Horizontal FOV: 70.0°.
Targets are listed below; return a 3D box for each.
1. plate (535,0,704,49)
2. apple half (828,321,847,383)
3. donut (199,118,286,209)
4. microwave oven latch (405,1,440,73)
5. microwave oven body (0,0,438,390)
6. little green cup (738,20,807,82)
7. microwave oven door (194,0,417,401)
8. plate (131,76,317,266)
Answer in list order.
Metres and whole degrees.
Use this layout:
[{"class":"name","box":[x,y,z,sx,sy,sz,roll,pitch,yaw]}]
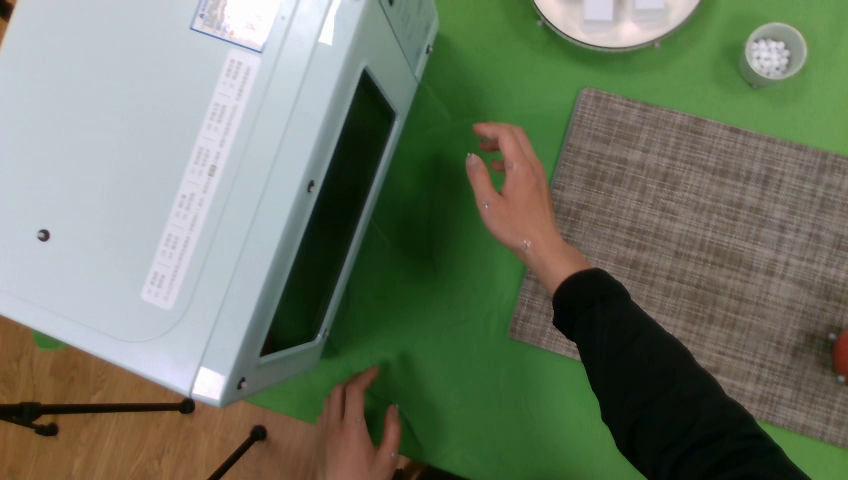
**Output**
[{"class":"plate","box":[0.220,-0.314,0.685,0.207,0.039,0.207,0,87,8]},{"class":"apple half","box":[0.448,0.108,0.617,0.053,0.075,0.081,37,96,12]},{"class":"donut","box":[-0.197,-0.083,0.659,0.099,0.048,0.099,2,99,12]},{"class":"microwave oven latch","box":[-0.006,-0.234,0.693,0.030,0.029,0.079,23,91,8]},{"class":"microwave oven body","box":[-0.218,-0.124,0.619,0.325,0.261,0.441,20,91,8]},{"class":"little green cup","box":[0.376,-0.203,0.660,0.061,0.039,0.061,0,87,8]},{"class":"microwave oven door","box":[-0.099,-0.034,0.595,0.039,0.244,0.355,20,90,8]},{"class":"plate","box":[-0.217,-0.074,0.670,0.209,0.038,0.208,0,87,6]}]
